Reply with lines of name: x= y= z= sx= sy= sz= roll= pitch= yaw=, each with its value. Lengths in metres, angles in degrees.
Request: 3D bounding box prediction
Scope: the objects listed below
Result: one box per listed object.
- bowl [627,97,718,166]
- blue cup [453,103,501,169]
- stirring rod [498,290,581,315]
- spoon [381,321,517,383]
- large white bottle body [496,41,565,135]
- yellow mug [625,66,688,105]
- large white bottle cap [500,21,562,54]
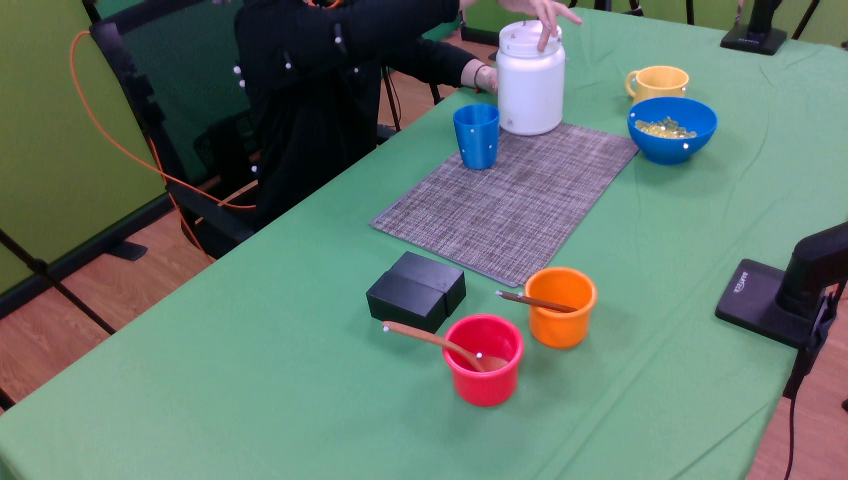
bowl: x=0.439 y=-0.187 z=1.087 sx=0.151 sy=0.077 sz=0.150 roll=-4 pitch=41 yaw=4
blue cup: x=0.099 y=-0.188 z=1.114 sx=0.092 sy=0.100 sz=0.092 roll=-4 pitch=39 yaw=3
stirring rod: x=0.152 y=0.081 z=0.771 sx=0.178 sy=0.006 sz=0.014 roll=16 pitch=19 yaw=-44
spoon: x=0.033 y=0.131 z=0.725 sx=0.195 sy=0.021 sz=0.041 roll=29 pitch=29 yaw=-26
large white bottle body: x=0.207 y=-0.314 z=1.182 sx=0.130 sy=0.185 sz=0.130 roll=-4 pitch=41 yaw=4
yellow mug: x=0.465 y=-0.306 z=1.230 sx=0.100 sy=0.064 sz=0.129 roll=-34 pitch=46 yaw=-27
large white bottle cap: x=0.199 y=-0.378 z=1.127 sx=0.115 sy=0.018 sz=0.114 roll=-4 pitch=41 yaw=4
